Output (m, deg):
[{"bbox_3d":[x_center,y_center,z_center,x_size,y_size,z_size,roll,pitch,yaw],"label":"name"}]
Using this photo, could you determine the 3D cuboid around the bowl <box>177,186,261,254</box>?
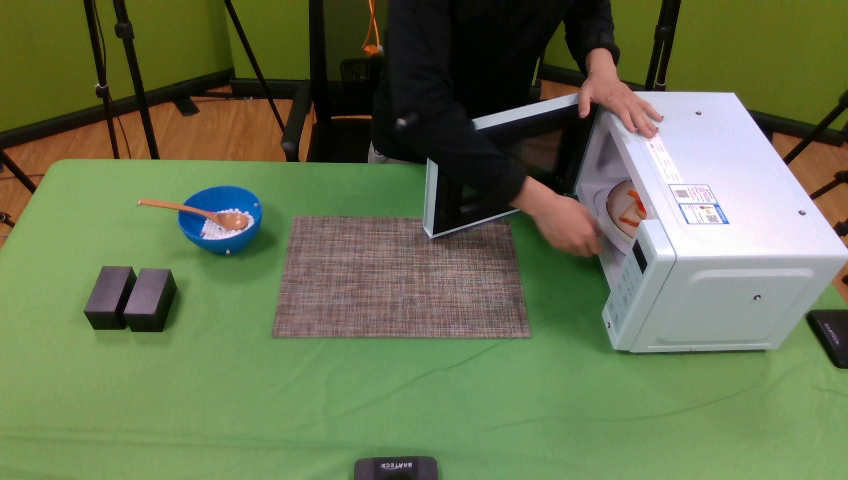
[{"bbox_3d":[-0.383,-0.026,1.158,0.151,0.077,0.150,2,46,-2],"label":"bowl"}]

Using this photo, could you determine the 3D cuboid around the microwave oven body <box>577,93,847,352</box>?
[{"bbox_3d":[0.475,-0.042,1.109,0.326,0.261,0.438,-1,45,-4],"label":"microwave oven body"}]

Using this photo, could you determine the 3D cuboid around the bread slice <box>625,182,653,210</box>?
[{"bbox_3d":[0.463,-0.080,1.139,0.105,0.019,0.131,-31,53,-34],"label":"bread slice"}]

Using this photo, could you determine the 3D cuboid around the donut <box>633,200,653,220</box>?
[{"bbox_3d":[0.449,-0.059,1.160,0.099,0.048,0.098,7,43,-6],"label":"donut"}]

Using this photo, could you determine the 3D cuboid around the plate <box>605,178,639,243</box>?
[{"bbox_3d":[0.455,-0.042,1.182,0.208,0.039,0.206,2,46,-2],"label":"plate"}]

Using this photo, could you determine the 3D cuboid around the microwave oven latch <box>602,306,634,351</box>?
[{"bbox_3d":[0.332,0.153,1.044,0.030,0.029,0.078,0,45,-3],"label":"microwave oven latch"}]

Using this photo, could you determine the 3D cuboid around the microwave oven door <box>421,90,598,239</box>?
[{"bbox_3d":[0.166,-0.147,1.182,0.356,0.245,0.039,-18,49,-20],"label":"microwave oven door"}]

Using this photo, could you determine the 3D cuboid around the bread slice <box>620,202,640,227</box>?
[{"bbox_3d":[0.464,-0.042,1.175,0.134,0.018,0.107,32,60,23],"label":"bread slice"}]

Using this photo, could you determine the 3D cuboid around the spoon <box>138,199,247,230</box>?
[{"bbox_3d":[-0.431,-0.053,1.135,0.194,0.022,0.041,15,48,-20],"label":"spoon"}]
